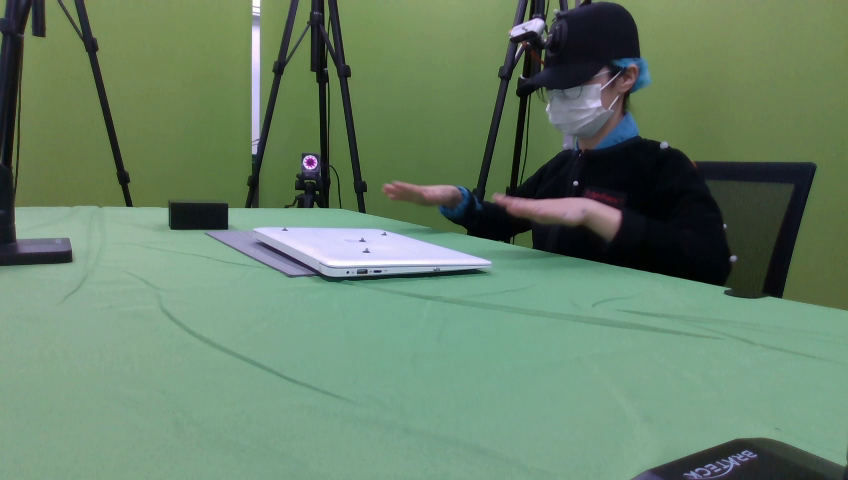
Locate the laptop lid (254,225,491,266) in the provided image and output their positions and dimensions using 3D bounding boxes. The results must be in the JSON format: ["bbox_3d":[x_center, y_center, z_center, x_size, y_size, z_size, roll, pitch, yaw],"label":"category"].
[{"bbox_3d":[-0.092,0.003,0.888,0.243,0.013,0.355,1,8,-29],"label":"laptop lid"}]

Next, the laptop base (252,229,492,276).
[{"bbox_3d":[-0.095,0.016,0.889,0.237,0.023,0.352,2,7,-31],"label":"laptop base"}]
